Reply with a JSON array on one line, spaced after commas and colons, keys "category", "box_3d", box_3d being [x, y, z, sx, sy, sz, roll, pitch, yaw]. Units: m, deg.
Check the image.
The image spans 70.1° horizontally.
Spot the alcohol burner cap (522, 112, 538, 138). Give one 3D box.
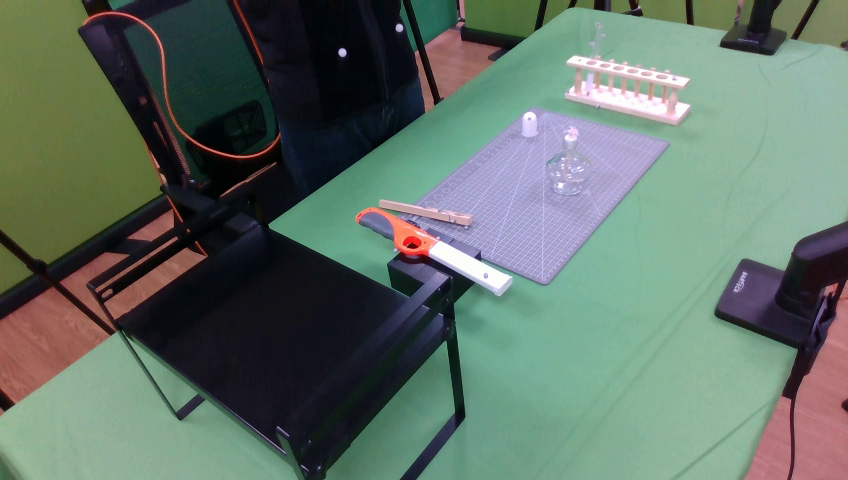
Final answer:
[{"category": "alcohol burner cap", "box_3d": [0.210, -0.230, 1.195, 0.034, 0.048, 0.033, -5, 42, 5]}]

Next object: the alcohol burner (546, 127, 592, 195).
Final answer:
[{"category": "alcohol burner", "box_3d": [0.246, -0.137, 1.024, 0.078, 0.119, 0.077, -4, 38, 4]}]

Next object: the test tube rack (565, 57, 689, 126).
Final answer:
[{"category": "test tube rack", "box_3d": [0.412, -0.311, 1.230, 0.240, 0.085, 0.067, 23, 49, 32]}]

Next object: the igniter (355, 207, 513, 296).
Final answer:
[{"category": "igniter", "box_3d": [0.006, 0.010, 0.885, 0.274, 0.025, 0.057, 27, 53, 30]}]

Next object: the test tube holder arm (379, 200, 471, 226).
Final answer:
[{"category": "test tube holder arm", "box_3d": [-0.002, -0.048, 1.031, 0.177, 0.015, 0.013, 12, 21, 25]}]

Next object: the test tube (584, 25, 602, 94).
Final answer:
[{"category": "test tube", "box_3d": [0.341, -0.362, 1.224, 0.017, 0.151, 0.017, -2, 45, 2]}]

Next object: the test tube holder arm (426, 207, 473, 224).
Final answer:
[{"category": "test tube holder arm", "box_3d": [0.041, -0.041, 1.016, 0.087, 0.015, 0.010, 12, 21, 26]}]
